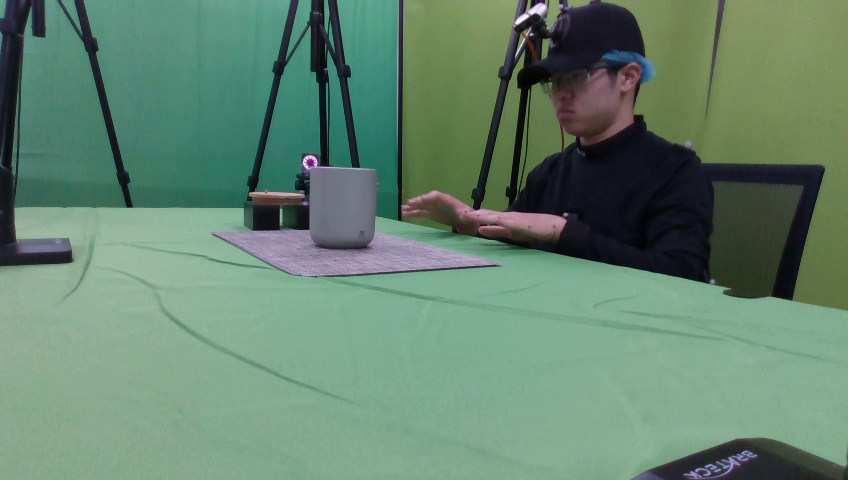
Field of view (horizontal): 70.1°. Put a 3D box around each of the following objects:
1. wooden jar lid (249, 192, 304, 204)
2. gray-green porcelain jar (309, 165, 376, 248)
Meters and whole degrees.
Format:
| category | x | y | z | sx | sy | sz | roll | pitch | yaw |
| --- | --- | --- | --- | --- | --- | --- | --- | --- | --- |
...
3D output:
| category | x | y | z | sx | sy | sz | roll | pitch | yaw |
| --- | --- | --- | --- | --- | --- | --- | --- | --- | --- |
| wooden jar lid | -0.297 | -0.086 | 1.220 | 0.108 | 0.020 | 0.108 | 4 | 7 | 0 |
| gray-green porcelain jar | -0.130 | -0.054 | 0.966 | 0.106 | 0.126 | 0.106 | 2 | 7 | 0 |
